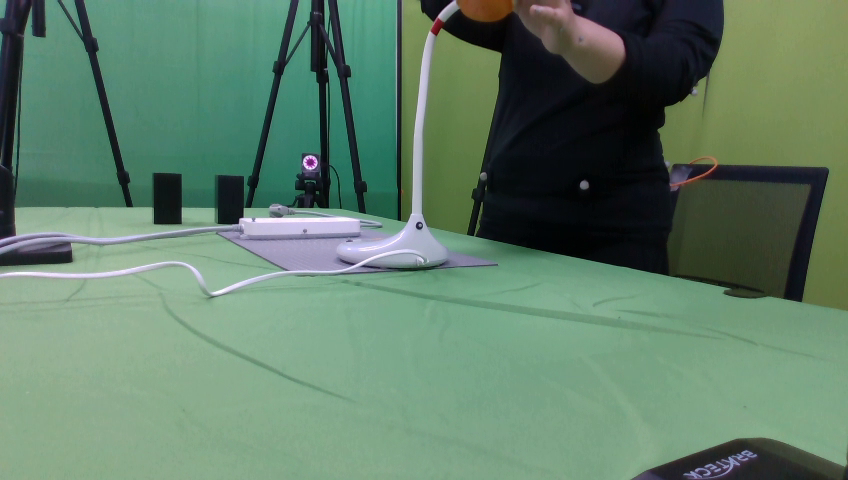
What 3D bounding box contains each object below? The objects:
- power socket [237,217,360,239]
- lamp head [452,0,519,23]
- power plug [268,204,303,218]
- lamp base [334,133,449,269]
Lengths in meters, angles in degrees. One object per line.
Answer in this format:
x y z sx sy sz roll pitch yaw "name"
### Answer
-0.221 -0.023 1.080 0.228 0.032 0.072 -2 8 -33 "power socket"
0.071 -0.319 0.706 0.112 0.122 0.112 8 -2 1 "lamp head"
-0.327 -0.060 1.404 0.073 0.035 0.052 22 -14 -26 "power plug"
-0.034 -0.057 0.831 0.161 0.180 0.178 -3 12 -36 "lamp base"
